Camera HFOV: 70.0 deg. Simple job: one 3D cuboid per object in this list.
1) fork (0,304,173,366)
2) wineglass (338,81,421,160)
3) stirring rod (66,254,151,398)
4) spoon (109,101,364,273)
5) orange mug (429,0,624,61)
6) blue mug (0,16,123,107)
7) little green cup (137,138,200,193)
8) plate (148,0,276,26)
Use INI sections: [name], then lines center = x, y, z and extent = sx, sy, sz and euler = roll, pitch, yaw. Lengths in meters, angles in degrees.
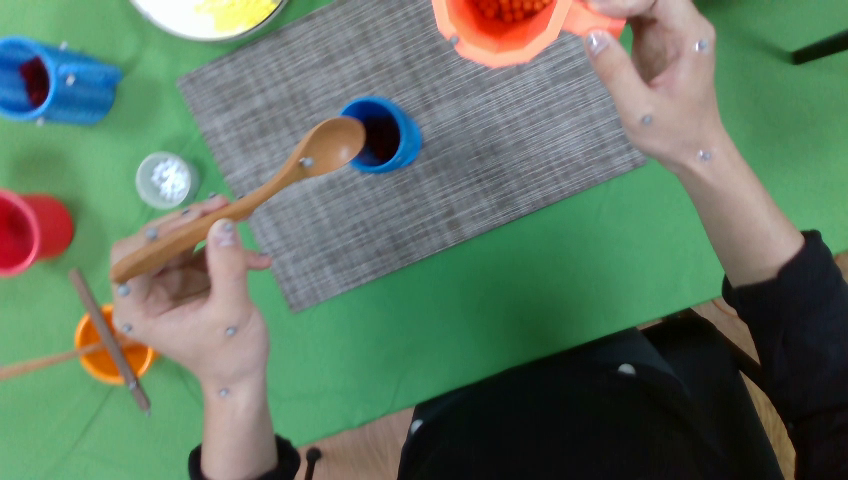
[fork]
center = -0.388, 0.109, 0.676
extent = 0.208, 0.018, 0.028
euler = -16, 108, -38
[wineglass]
center = -0.041, -0.116, 0.600
extent = 0.074, 0.172, 0.074
euler = 1, 99, 4
[stirring rod]
center = -0.347, 0.096, 0.668
extent = 0.014, 0.006, 0.176
euler = -23, 98, 8
[spoon]
center = -0.099, -0.036, 0.360
extent = 0.021, 0.193, 0.042
euler = 27, 134, 17
[orange mug]
center = 0.071, -0.172, 0.402
extent = 0.126, 0.100, 0.084
euler = 22, 130, 5
[blue mug]
center = -0.383, -0.189, 0.644
extent = 0.116, 0.105, 0.082
euler = -9, 99, 5
[little green cup]
center = -0.289, -0.085, 0.691
extent = 0.061, 0.038, 0.062
euler = 1, 101, 4
[plate]
center = -0.225, -0.334, 0.643
extent = 0.209, 0.038, 0.209
euler = 0, 101, 3
